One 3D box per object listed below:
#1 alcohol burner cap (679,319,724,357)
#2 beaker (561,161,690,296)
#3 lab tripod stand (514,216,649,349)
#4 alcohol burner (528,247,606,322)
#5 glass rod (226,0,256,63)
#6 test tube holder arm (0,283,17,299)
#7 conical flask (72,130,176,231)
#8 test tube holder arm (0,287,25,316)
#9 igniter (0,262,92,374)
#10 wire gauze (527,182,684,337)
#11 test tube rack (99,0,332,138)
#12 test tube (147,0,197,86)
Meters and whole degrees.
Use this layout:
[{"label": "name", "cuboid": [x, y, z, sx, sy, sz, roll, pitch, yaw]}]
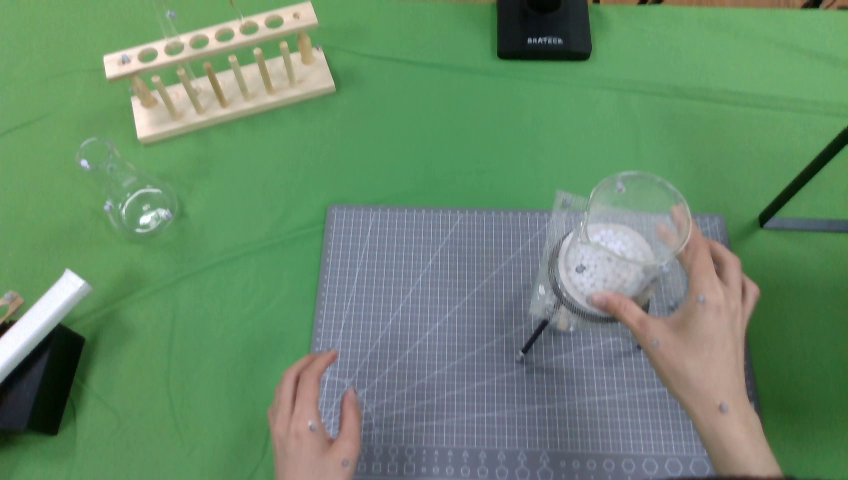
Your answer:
[{"label": "alcohol burner cap", "cuboid": [0.279, 0.095, 0.605, 0.034, 0.048, 0.033, 0, 65, 1]}, {"label": "beaker", "cuboid": [0.148, -0.002, 0.474, 0.084, 0.101, 0.073, -20, 67, -8]}, {"label": "lab tripod stand", "cuboid": [0.154, 0.046, 0.577, 0.148, 0.132, 0.147, 1, 64, -1]}, {"label": "alcohol burner", "cuboid": [0.143, 0.037, 0.592, 0.078, 0.120, 0.077, 1, 64, -1]}, {"label": "glass rod", "cuboid": [-0.217, -0.265, 0.676, 0.008, 0.201, 0.008, -3, 59, 6]}, {"label": "test tube holder arm", "cuboid": [-0.452, 0.110, 0.562, 0.013, 0.015, 0.178, 45, 71, -14]}, {"label": "conical flask", "cuboid": [-0.321, -0.067, 0.640, 0.075, 0.123, 0.074, 0, 65, 1]}, {"label": "test tube holder arm", "cuboid": [-0.421, 0.081, 0.578, 0.010, 0.015, 0.087, 45, 71, -13]}, {"label": "igniter", "cuboid": [-0.420, 0.133, 0.552, 0.057, 0.025, 0.276, 28, 68, 22]}, {"label": "wire gauze", "cuboid": [0.159, 0.014, 0.519, 0.121, 0.011, 0.124, 15, 65, 5]}, {"label": "test tube rack", "cuboid": [-0.240, -0.205, 0.722, 0.242, 0.086, 0.066, -18, 66, -8]}, {"label": "test tube", "cuboid": [-0.284, -0.230, 0.680, 0.017, 0.151, 0.017, 0, 59, 0]}]
